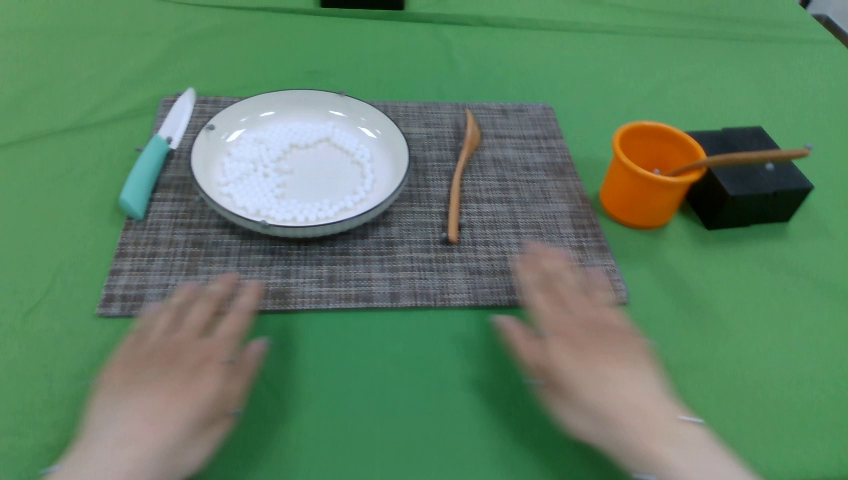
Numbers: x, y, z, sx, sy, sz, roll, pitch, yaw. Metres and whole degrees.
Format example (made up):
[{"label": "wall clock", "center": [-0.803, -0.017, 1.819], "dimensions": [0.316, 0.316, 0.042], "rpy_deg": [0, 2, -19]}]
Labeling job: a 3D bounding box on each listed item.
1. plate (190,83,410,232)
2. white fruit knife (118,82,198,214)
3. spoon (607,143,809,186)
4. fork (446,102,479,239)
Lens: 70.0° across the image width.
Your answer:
[{"label": "plate", "center": [-0.118, -0.081, 0.598], "dimensions": [0.209, 0.038, 0.207], "rpy_deg": [4, 48, -4]}, {"label": "white fruit knife", "center": [-0.265, -0.103, 0.615], "dimensions": [0.027, 0.016, 0.205], "rpy_deg": [26, 41, -23]}, {"label": "spoon", "center": [0.257, -0.072, 0.572], "dimensions": [0.041, 0.193, 0.022], "rpy_deg": [-29, 101, -32]}, {"label": "fork", "center": [0.039, -0.078, 0.629], "dimensions": [0.018, 0.028, 0.205], "rpy_deg": [-10, 45, 26]}]
